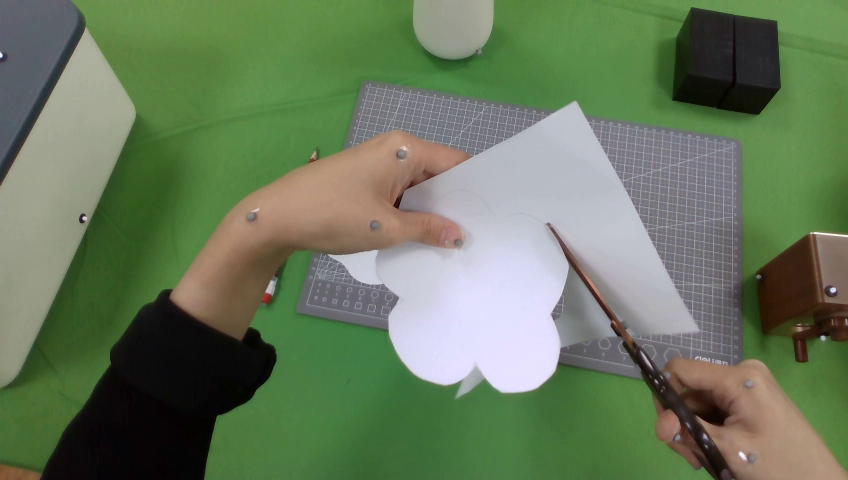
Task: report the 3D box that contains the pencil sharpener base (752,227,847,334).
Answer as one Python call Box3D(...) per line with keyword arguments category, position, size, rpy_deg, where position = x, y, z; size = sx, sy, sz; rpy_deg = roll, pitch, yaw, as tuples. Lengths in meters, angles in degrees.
Box3D(category="pencil sharpener base", position=(0.370, 0.045, 0.579), size=(0.061, 0.108, 0.076), rpy_deg=(6, 67, 3))

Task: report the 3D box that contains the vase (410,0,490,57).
Box3D(category="vase", position=(0.030, -0.301, 0.674), size=(0.098, 0.201, 0.097), rpy_deg=(0, 66, 1))

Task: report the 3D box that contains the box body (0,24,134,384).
Box3D(category="box body", position=(-0.482, -0.057, 0.590), size=(0.254, 0.161, 0.361), rpy_deg=(10, 67, 4))

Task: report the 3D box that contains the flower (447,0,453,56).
Box3D(category="flower", position=(0.025, -0.347, 0.603), size=(0.044, 0.365, 0.038), rpy_deg=(3, 49, 5))

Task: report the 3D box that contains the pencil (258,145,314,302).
Box3D(category="pencil", position=(-0.147, -0.024, 0.661), size=(0.012, 0.012, 0.193), rpy_deg=(11, 66, 5))

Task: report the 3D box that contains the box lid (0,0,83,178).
Box3D(category="box lid", position=(-0.482, -0.088, 0.522), size=(0.263, 0.015, 0.369), rpy_deg=(10, 67, 4))

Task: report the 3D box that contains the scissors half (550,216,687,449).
Box3D(category="scissors half", position=(0.120, 0.057, 0.365), size=(0.013, 0.040, 0.176), rpy_deg=(-33, 106, 6))

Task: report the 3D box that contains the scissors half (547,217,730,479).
Box3D(category="scissors half", position=(0.120, 0.059, 0.344), size=(0.013, 0.040, 0.174), rpy_deg=(-33, 84, 1))

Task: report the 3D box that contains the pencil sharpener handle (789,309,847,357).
Box3D(category="pencil sharpener handle", position=(0.361, 0.086, 0.548), size=(0.036, 0.068, 0.030), rpy_deg=(11, 67, -10))
